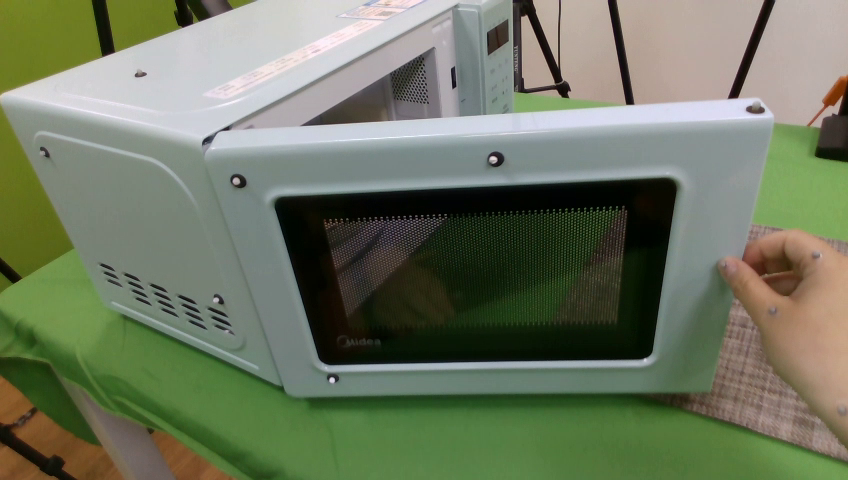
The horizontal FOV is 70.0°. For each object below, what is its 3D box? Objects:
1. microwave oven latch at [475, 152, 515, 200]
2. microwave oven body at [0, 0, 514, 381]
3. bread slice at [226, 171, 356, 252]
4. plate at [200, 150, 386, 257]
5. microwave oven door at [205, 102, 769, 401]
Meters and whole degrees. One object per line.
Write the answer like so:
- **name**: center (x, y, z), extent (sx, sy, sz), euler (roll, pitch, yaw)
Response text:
- **microwave oven latch**: center (0.093, -0.084, 0.790), extent (0.030, 0.030, 0.079), euler (16, 41, 29)
- **microwave oven body**: center (-0.136, -0.104, 0.687), extent (0.323, 0.262, 0.440), euler (15, 41, 28)
- **bread slice**: center (-0.146, -0.040, 0.691), extent (0.104, 0.019, 0.131), euler (24, 46, 35)
- **plate**: center (-0.144, -0.041, 0.688), extent (0.209, 0.038, 0.207), euler (-5, 34, 4)
- **microwave oven door**: center (0.043, 0.026, 0.452), extent (0.355, 0.246, 0.039), euler (-3, 34, 6)
